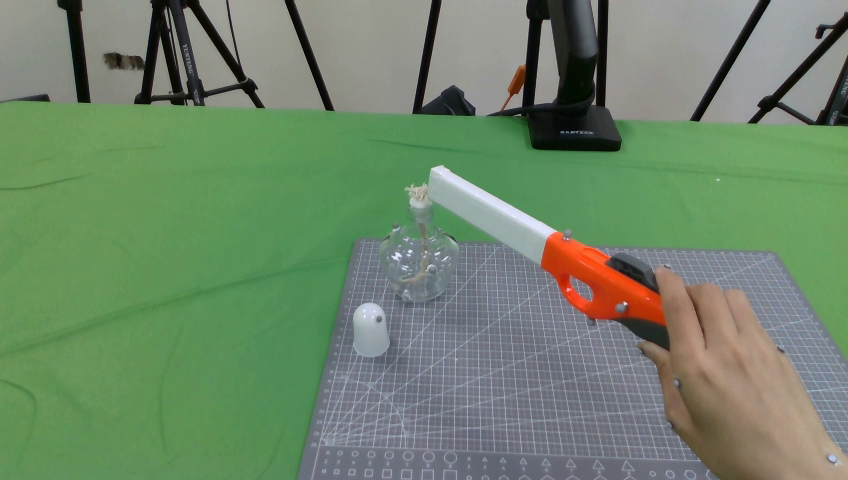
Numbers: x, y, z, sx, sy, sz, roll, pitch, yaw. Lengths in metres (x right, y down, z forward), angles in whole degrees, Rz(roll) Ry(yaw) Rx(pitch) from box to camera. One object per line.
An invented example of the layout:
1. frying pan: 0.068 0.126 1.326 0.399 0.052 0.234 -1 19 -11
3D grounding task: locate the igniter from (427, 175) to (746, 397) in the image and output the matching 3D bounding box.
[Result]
1. igniter: 0.100 0.020 0.438 0.025 0.057 0.273 -22 42 -37

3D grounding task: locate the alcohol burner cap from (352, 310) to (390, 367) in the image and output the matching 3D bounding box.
1. alcohol burner cap: -0.046 0.081 0.520 0.034 0.048 0.033 1 37 0

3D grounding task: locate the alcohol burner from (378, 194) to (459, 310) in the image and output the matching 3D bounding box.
1. alcohol burner: -0.004 0.006 0.562 0.078 0.120 0.077 2 38 -1
